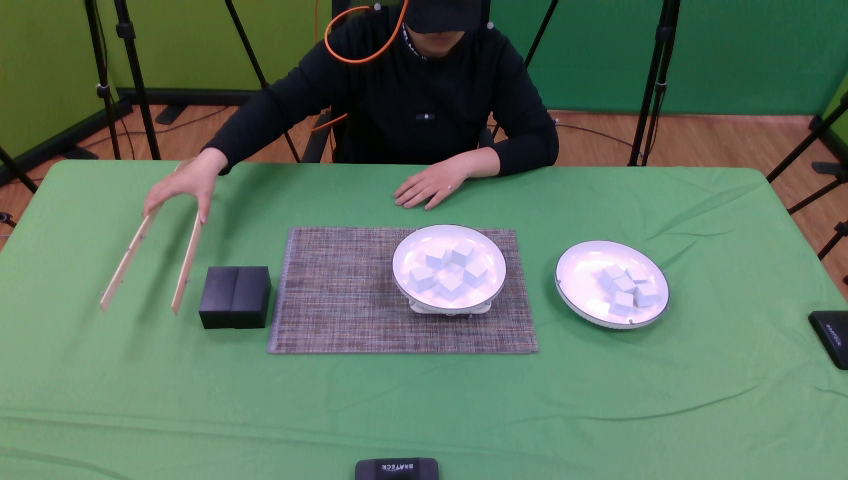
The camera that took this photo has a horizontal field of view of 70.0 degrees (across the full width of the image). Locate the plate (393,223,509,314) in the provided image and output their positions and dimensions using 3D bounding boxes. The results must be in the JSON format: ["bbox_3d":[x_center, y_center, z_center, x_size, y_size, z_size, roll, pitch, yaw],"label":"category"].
[{"bbox_3d":[0.048,0.053,1.091,0.208,0.039,0.206,1,46,-1],"label":"plate"}]

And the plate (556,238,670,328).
[{"bbox_3d":[0.347,0.083,1.130,0.209,0.038,0.208,2,47,-2],"label":"plate"}]

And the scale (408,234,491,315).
[{"bbox_3d":[0.045,0.055,1.135,0.149,0.032,0.199,1,46,-3],"label":"scale"}]

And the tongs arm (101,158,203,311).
[{"bbox_3d":[-0.483,-0.026,1.101,0.051,0.026,0.382,3,44,-1],"label":"tongs arm"}]

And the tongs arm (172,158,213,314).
[{"bbox_3d":[-0.421,-0.023,1.105,0.028,0.028,0.385,-5,45,-3],"label":"tongs arm"}]
